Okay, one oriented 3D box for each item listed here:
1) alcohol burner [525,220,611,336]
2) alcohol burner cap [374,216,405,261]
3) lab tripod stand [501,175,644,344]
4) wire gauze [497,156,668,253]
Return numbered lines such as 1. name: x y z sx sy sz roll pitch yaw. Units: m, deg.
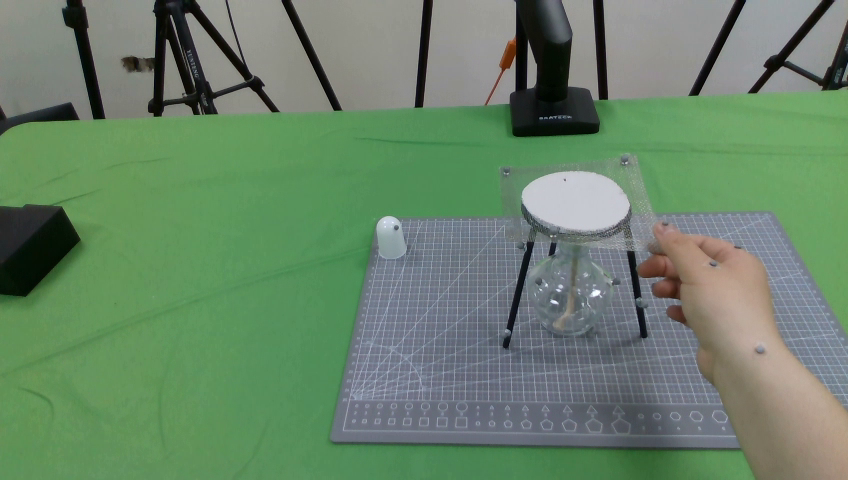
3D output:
1. alcohol burner: 0.131 0.030 0.546 0.078 0.120 0.077 -2 40 2
2. alcohol burner cap: -0.039 -0.004 0.662 0.034 0.048 0.033 -3 41 3
3. lab tripod stand: 0.132 0.020 0.542 0.148 0.132 0.147 -2 39 2
4. wire gauze: 0.124 -0.032 0.499 0.125 0.011 0.120 0 40 4
